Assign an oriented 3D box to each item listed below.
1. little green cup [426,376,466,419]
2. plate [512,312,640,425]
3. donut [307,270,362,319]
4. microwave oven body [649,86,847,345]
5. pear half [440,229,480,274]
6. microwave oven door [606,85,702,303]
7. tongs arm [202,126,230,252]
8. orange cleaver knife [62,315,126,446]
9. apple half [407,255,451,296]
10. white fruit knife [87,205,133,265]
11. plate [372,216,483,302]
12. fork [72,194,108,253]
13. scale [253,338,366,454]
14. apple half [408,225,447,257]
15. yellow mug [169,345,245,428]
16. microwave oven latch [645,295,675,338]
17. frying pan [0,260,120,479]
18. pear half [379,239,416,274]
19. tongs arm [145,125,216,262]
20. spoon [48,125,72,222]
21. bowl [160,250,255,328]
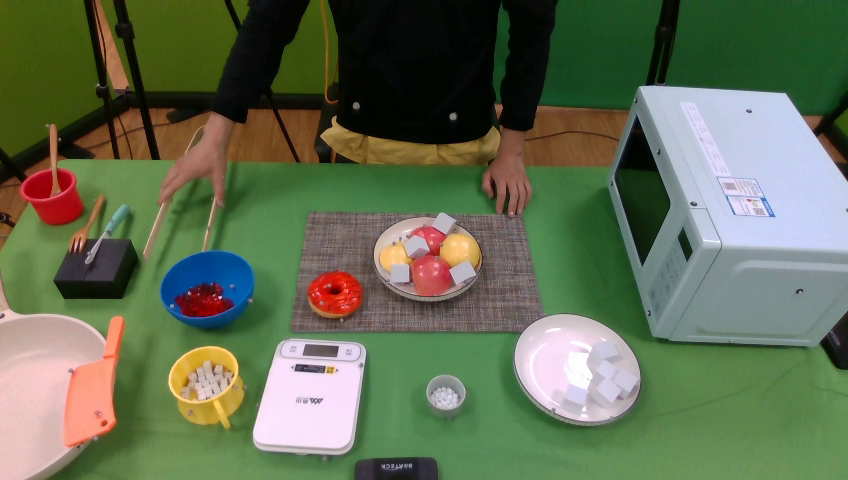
[{"bbox_3d":[0.033,0.248,0.950,0.061,0.039,0.061,2,46,-2],"label":"little green cup"},{"bbox_3d":[0.246,0.213,0.999,0.208,0.039,0.206,2,46,-2],"label":"plate"},{"bbox_3d":[-0.158,0.097,1.073,0.099,0.048,0.098,4,45,-4],"label":"donut"},{"bbox_3d":[0.567,-0.053,1.118,0.326,0.261,0.439,2,45,-1],"label":"microwave oven body"},{"bbox_3d":[0.065,0.007,1.150,0.076,0.056,0.109,-10,43,-2],"label":"pear half"},{"bbox_3d":[0.423,-0.094,1.140,0.039,0.245,0.353,2,46,-1],"label":"microwave oven door"},{"bbox_3d":[-0.435,-0.104,1.234,0.051,0.026,0.382,3,48,-7],"label":"tongs arm"},{"bbox_3d":[-0.480,0.199,0.887,0.077,0.012,0.210,-9,47,-8],"label":"orange cleaver knife"},{"bbox_3d":[0.011,0.058,1.103,0.075,0.053,0.080,-6,43,-13],"label":"apple half"},{"bbox_3d":[-0.584,-0.013,1.129,0.016,0.027,0.206,-1,32,-4],"label":"white fruit knife"},{"bbox_3d":[0.006,0.038,1.145,0.209,0.038,0.208,2,46,-2],"label":"plate"},{"bbox_3d":[-0.634,-0.036,1.158,0.028,0.019,0.206,-8,32,-8],"label":"fork"},{"bbox_3d":[-0.175,0.236,0.951,0.149,0.032,0.199,4,45,-1],"label":"scale"},{"bbox_3d":[0.010,-0.006,1.176,0.081,0.033,0.081,1,53,-1],"label":"apple half"},{"bbox_3d":[-0.322,0.230,0.922,0.100,0.064,0.130,-24,53,-25],"label":"yellow mug"},{"bbox_3d":[0.411,0.134,1.061,0.030,0.029,0.078,3,45,0],"label":"microwave oven latch"},{"bbox_3d":[-0.647,0.164,0.936,0.307,0.103,0.485,-19,58,-22],"label":"frying pan"},{"bbox_3d":[-0.048,0.024,1.147,0.070,0.031,0.087,13,48,-11],"label":"pear half"},{"bbox_3d":[-0.489,-0.108,1.226,0.028,0.028,0.385,5,47,-1],"label":"tongs arm"},{"bbox_3d":[-0.718,-0.131,1.189,0.041,0.021,0.193,-3,90,-7],"label":"spoon"},{"bbox_3d":[-0.362,0.098,1.040,0.151,0.077,0.150,2,45,-2],"label":"bowl"}]
